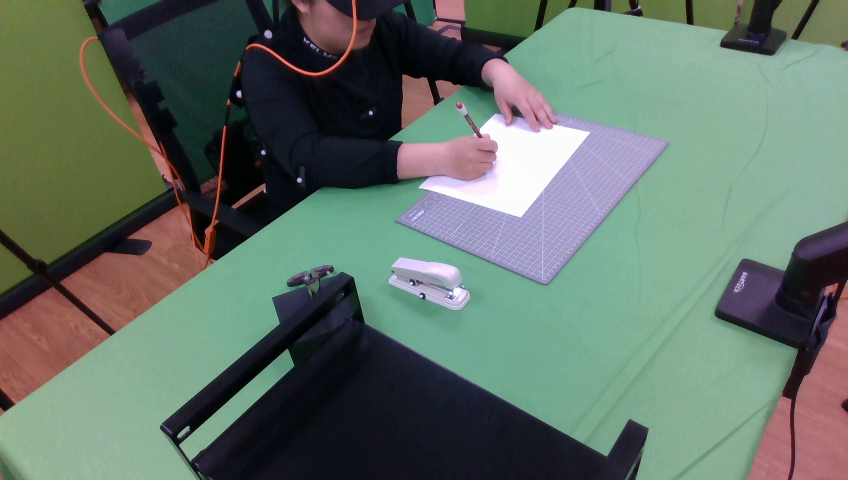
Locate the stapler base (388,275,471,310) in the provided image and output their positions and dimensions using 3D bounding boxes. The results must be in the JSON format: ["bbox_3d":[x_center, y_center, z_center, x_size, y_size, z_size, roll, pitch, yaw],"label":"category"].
[{"bbox_3d":[0.007,0.066,0.897,0.129,0.024,0.041,17,43,29],"label":"stapler base"}]

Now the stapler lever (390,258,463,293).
[{"bbox_3d":[0.003,0.046,0.881,0.117,0.040,0.027,17,44,29],"label":"stapler lever"}]

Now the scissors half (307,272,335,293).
[{"bbox_3d":[-0.151,0.062,0.872,0.040,0.013,0.175,-2,5,-4],"label":"scissors half"}]

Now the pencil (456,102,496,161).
[{"bbox_3d":[0.096,-0.185,1.061,0.012,0.195,0.012,-10,64,22],"label":"pencil"}]

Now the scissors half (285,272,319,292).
[{"bbox_3d":[-0.171,0.063,0.868,0.040,0.013,0.174,-9,6,-21],"label":"scissors half"}]
